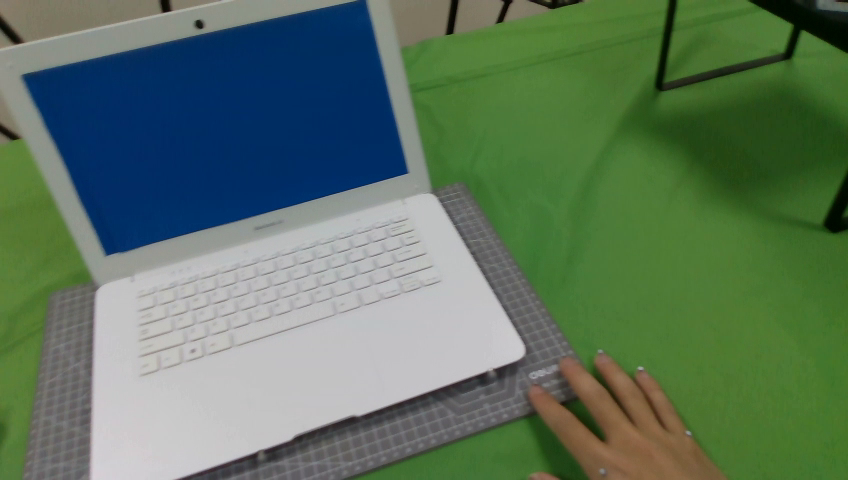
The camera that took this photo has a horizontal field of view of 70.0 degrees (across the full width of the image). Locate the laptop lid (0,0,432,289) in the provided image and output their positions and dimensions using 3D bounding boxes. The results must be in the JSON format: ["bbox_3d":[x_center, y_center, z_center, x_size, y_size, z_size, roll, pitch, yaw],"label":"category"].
[{"bbox_3d":[-0.178,-0.102,0.587,0.357,0.243,0.013,-18,23,-11],"label":"laptop lid"}]

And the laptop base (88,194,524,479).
[{"bbox_3d":[-0.116,0.078,0.552,0.355,0.023,0.232,-17,47,-11],"label":"laptop base"}]
